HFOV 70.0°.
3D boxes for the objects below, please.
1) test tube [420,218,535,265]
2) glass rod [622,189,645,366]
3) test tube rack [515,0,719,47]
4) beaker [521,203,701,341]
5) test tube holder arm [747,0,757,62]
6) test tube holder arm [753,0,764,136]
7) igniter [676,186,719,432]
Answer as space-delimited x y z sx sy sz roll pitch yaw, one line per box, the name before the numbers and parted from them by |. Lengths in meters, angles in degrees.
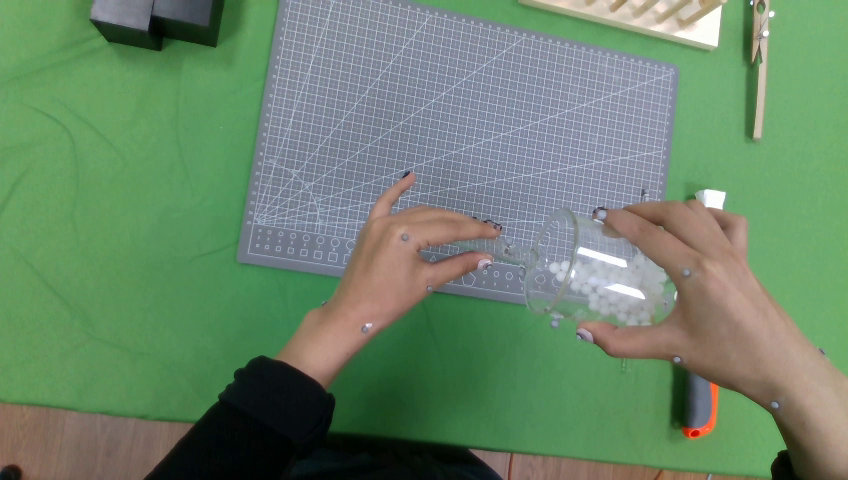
test tube | 0.039 -0.001 0.505 0.017 0.149 0.017 -7 104 -31
glass rod | 0.234 0.041 0.677 0.008 0.008 0.199 8 85 -11
test tube rack | 0.229 -0.282 0.657 0.243 0.085 0.066 9 85 -11
beaker | 0.126 0.025 0.416 0.100 0.084 0.074 17 87 -10
test tube holder arm | 0.393 -0.258 0.724 0.010 0.015 0.087 1 87 25
test tube holder arm | 0.397 -0.213 0.719 0.013 0.015 0.178 -1 87 25
igniter | 0.311 0.077 0.685 0.057 0.025 0.276 6 86 -21
